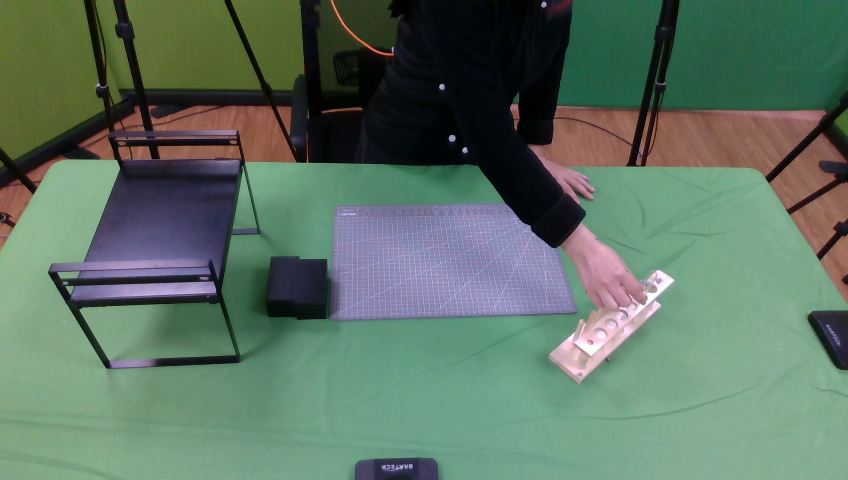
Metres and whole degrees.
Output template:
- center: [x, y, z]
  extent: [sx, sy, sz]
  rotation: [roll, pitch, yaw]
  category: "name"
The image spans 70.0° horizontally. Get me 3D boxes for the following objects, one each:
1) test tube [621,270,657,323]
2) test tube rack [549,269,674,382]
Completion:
- center: [0.351, 0.096, 0.994]
  extent: [0.017, 0.151, 0.017]
  rotation: [1, 53, -1]
  category: "test tube"
- center: [0.325, 0.135, 1.047]
  extent: [0.242, 0.085, 0.066]
  rotation: [-32, 55, -30]
  category: "test tube rack"
